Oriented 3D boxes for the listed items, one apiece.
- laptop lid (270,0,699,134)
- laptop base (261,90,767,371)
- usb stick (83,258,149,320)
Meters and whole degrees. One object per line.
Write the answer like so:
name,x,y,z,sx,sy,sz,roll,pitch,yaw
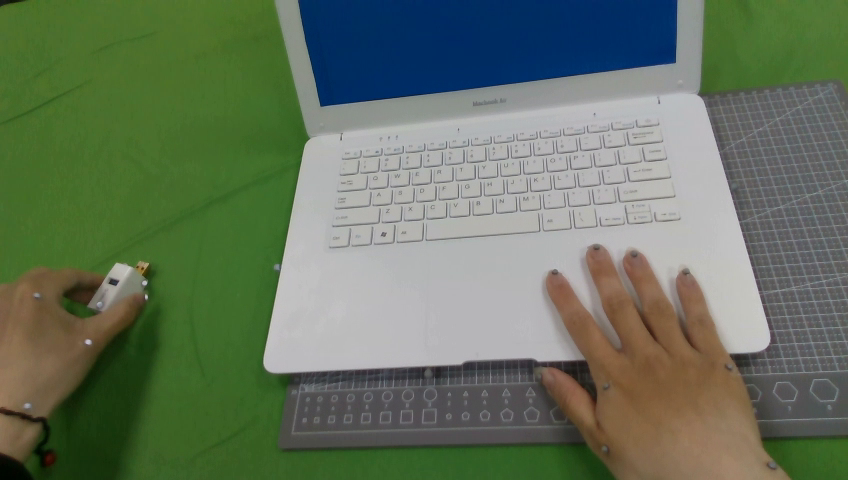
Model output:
laptop lid,0.042,-0.213,0.496,0.356,0.243,0.013,-6,26,10
laptop base,0.055,-0.012,0.484,0.354,0.023,0.233,-5,59,10
usb stick,-0.260,0.036,0.518,0.021,0.027,0.059,13,56,19
